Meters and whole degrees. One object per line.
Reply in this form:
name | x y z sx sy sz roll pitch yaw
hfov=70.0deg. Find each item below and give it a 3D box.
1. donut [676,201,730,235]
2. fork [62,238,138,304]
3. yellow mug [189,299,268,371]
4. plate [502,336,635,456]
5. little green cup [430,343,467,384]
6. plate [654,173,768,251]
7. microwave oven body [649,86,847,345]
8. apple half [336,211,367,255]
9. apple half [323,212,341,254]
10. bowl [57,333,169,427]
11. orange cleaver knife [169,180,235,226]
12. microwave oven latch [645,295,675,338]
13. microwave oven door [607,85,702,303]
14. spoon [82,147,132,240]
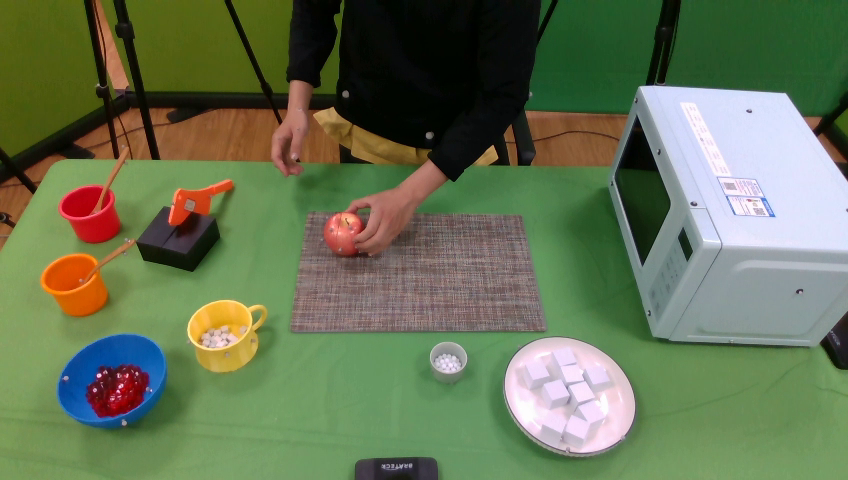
donut | 0.538 -0.043 1.170 0.099 0.048 0.098 5 27 -2
fork | -0.547 0.053 1.018 0.207 0.019 0.028 -36 41 23
yellow mug | -0.316 0.148 1.002 0.131 0.064 0.099 -33 56 -31
plate | 0.225 0.248 0.964 0.208 0.039 0.206 2 46 -2
little green cup | 0.039 0.203 0.994 0.061 0.039 0.061 2 46 -2
plate | 0.556 -0.050 1.187 0.209 0.038 0.208 1 46 -1
microwave oven body | 0.568 -0.053 1.118 0.326 0.261 0.439 2 45 -1
apple half | -0.137 -0.010 1.157 0.053 0.075 0.080 7 42 -3
apple half | -0.176 -0.012 1.155 0.033 0.081 0.081 7 46 -3
bowl | -0.456 0.223 0.911 0.151 0.077 0.150 3 45 -2
orange cleaver knife | -0.436 -0.076 1.199 0.012 0.077 0.211 17 17 9
microwave oven latch | 0.412 0.134 1.061 0.030 0.029 0.078 3 45 0
microwave oven door | 0.423 -0.094 1.141 0.039 0.245 0.353 2 46 -1
spoon | -0.602 -0.089 1.156 0.041 0.022 0.193 27 95 19
